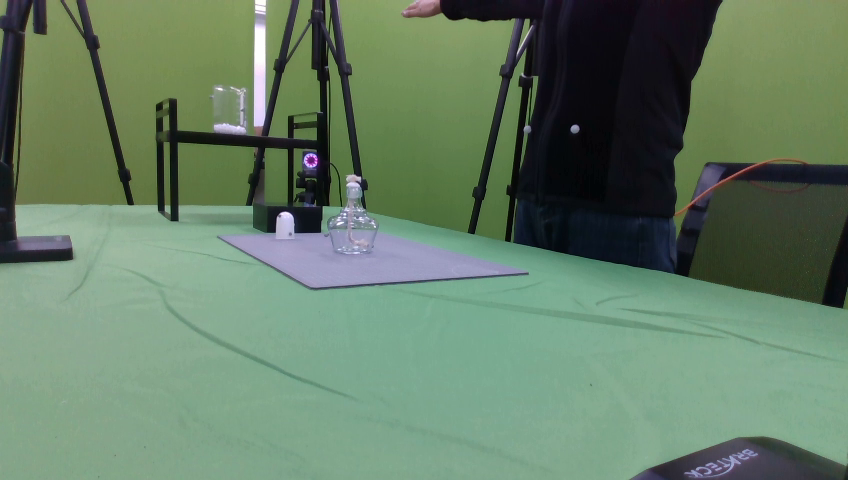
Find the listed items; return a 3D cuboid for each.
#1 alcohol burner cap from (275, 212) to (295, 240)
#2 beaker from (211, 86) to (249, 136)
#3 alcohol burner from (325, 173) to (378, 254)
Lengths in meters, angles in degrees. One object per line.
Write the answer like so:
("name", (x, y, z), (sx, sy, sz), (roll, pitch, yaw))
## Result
("alcohol burner cap", (-0.233, -0.024, 1.013), (0.034, 0.048, 0.034), (1, 7, 0))
("beaker", (-0.413, -0.274, 1.297), (0.074, 0.100, 0.083), (-5, 11, -44))
("alcohol burner", (-0.107, -0.040, 0.896), (0.078, 0.119, 0.078), (2, 5, 0))
